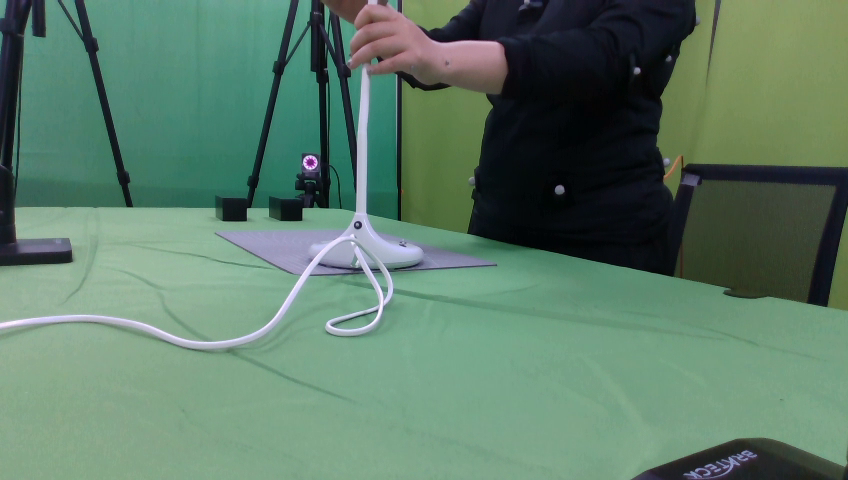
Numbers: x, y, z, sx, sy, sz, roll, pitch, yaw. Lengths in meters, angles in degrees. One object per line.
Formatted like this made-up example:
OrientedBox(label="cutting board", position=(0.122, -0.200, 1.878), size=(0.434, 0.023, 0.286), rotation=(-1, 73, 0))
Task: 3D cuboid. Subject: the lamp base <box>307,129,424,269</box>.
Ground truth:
OrientedBox(label="lamp base", position=(-0.077, -0.057, 0.811), size=(0.161, 0.180, 0.179), rotation=(2, 10, -4))
